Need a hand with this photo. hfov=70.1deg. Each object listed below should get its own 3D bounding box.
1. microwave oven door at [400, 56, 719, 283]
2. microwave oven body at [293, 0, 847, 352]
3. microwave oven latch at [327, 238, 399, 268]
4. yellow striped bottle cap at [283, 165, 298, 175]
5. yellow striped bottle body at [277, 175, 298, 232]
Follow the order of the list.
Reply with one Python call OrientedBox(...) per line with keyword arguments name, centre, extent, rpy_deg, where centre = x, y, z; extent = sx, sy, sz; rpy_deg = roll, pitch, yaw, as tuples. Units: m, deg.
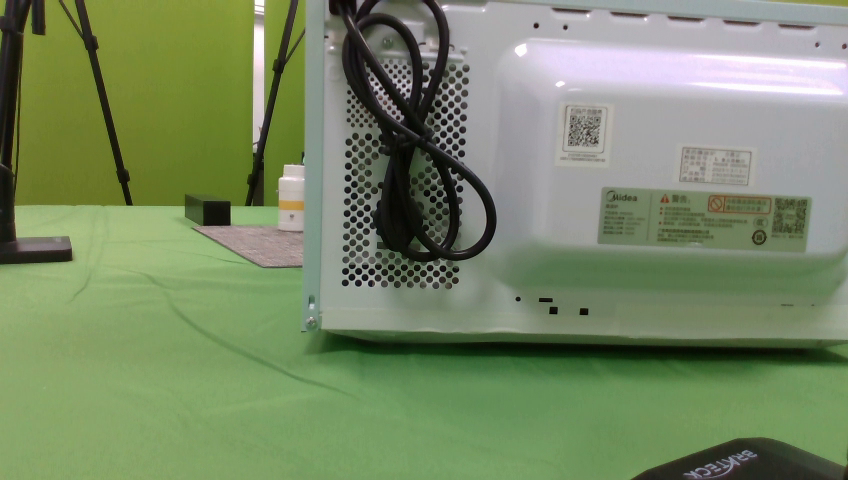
OrientedBox(name="microwave oven door", centre=(0.155, -0.077, 0.698), extent=(0.356, 0.243, 0.039), rpy_deg=(2, 8, -5))
OrientedBox(name="microwave oven body", centre=(0.122, -0.055, 0.550), extent=(0.442, 0.260, 0.325), rpy_deg=(3, 7, -5))
OrientedBox(name="microwave oven latch", centre=(-0.069, 0.015, 0.694), extent=(0.079, 0.029, 0.030), rpy_deg=(3, 7, -3))
OrientedBox(name="yellow striped bottle cap", centre=(-0.240, -0.129, 1.124), extent=(0.044, 0.018, 0.044), rpy_deg=(4, 8, 0))
OrientedBox(name="yellow striped bottle body", centre=(-0.242, -0.078, 1.130), extent=(0.063, 0.120, 0.063), rpy_deg=(2, 8, 0))
